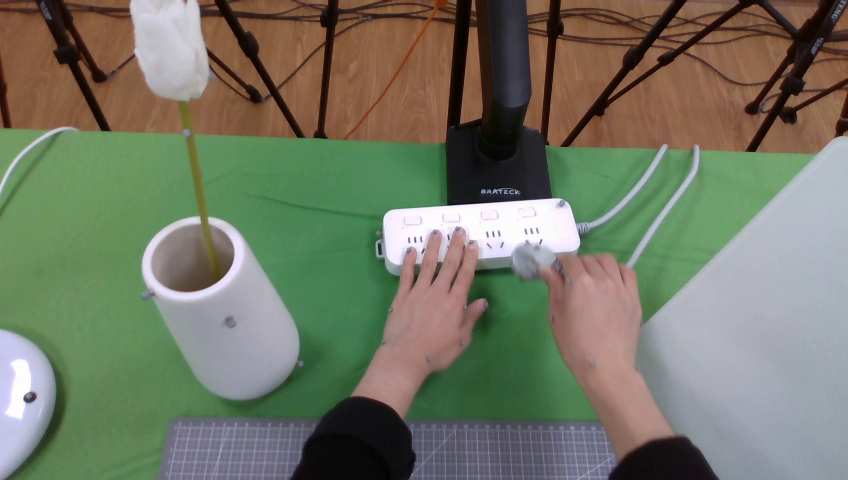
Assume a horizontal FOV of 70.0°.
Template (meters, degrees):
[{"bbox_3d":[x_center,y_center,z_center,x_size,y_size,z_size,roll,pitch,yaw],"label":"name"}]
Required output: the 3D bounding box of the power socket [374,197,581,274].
[{"bbox_3d":[0.060,-0.005,0.655,0.227,0.033,0.071,-4,60,-6],"label":"power socket"}]

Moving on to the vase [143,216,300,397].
[{"bbox_3d":[-0.165,0.061,0.506,0.098,0.201,0.097,1,59,-1],"label":"vase"}]

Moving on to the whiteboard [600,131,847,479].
[{"bbox_3d":[0.337,0.084,0.497,0.144,0.307,0.215,-19,60,-36],"label":"whiteboard"}]

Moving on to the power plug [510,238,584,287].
[{"bbox_3d":[0.111,0.030,0.584,0.035,0.053,0.072,-28,73,-21],"label":"power plug"}]

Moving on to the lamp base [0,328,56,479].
[{"bbox_3d":[-0.420,0.105,0.474,0.178,0.182,0.160,30,62,17],"label":"lamp base"}]

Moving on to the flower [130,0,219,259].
[{"bbox_3d":[-0.155,0.003,0.445,0.038,0.364,0.043,-9,42,-16],"label":"flower"}]
